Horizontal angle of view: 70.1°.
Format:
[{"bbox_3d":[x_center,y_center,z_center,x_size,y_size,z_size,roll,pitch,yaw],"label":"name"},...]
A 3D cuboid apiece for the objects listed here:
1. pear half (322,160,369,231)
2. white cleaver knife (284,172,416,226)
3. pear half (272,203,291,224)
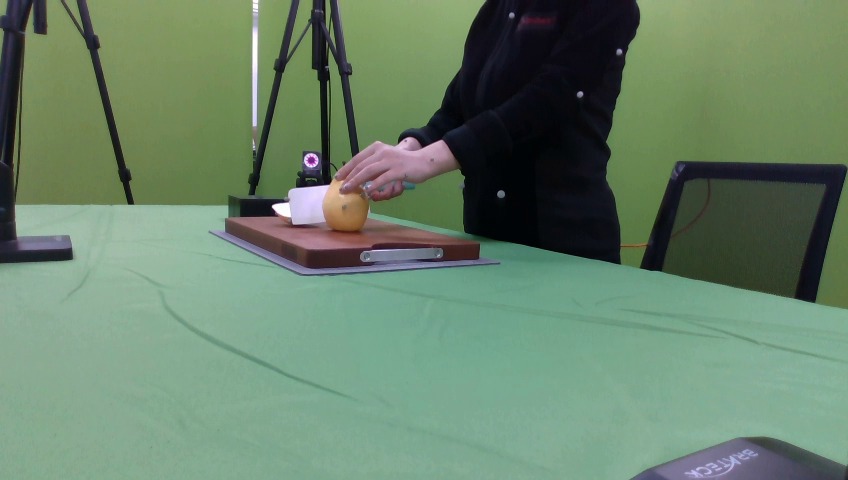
[{"bbox_3d":[-0.115,-0.068,0.934,0.055,0.110,0.076,7,16,32],"label":"pear half"},{"bbox_3d":[-0.115,-0.071,1.010,0.021,0.066,0.288,-6,6,43],"label":"white cleaver knife"},{"bbox_3d":[-0.208,-0.042,0.995,0.088,0.031,0.070,4,19,19],"label":"pear half"}]
